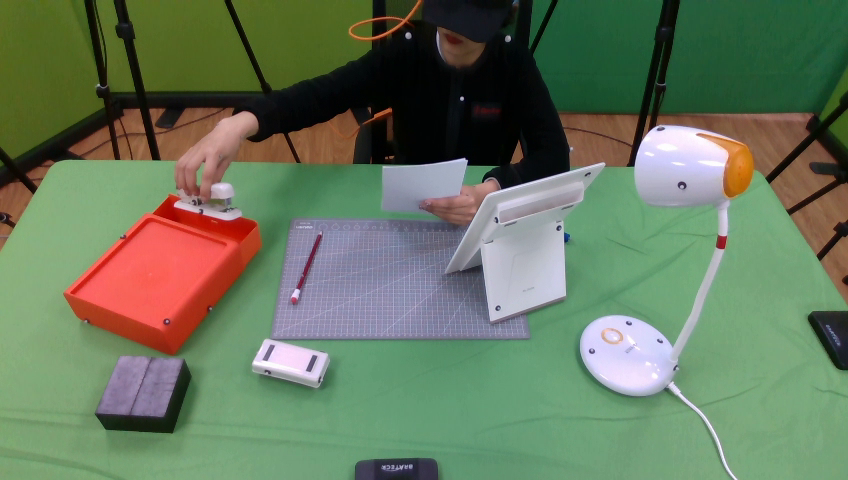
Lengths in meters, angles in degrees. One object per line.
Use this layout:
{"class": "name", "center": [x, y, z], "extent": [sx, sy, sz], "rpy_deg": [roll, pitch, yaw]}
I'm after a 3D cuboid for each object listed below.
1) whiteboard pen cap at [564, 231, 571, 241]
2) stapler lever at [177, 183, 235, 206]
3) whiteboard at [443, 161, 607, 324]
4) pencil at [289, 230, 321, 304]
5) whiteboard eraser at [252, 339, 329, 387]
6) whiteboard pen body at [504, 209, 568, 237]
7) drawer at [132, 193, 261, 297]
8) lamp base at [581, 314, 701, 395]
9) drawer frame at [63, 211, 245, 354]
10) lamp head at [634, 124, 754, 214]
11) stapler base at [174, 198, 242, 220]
{"class": "whiteboard pen cap", "center": [0.281, -0.011, 1.230], "extent": [0.033, 0.018, 0.018], "rpy_deg": [25, 50, 16]}
{"class": "stapler lever", "center": [-0.390, -0.088, 1.084], "extent": [0.118, 0.040, 0.027], "rpy_deg": [11, 22, 22]}
{"class": "whiteboard", "center": [0.185, 0.026, 1.028], "extent": [0.217, 0.306, 0.143], "rpy_deg": [-15, 68, -18]}
{"class": "pencil", "center": [-0.221, 0.045, 1.141], "extent": [0.012, 0.012, 0.193], "rpy_deg": [8, 44, 4]}
{"class": "whiteboard eraser", "center": [-0.215, 0.199, 0.976], "extent": [0.112, 0.042, 0.055], "rpy_deg": [12, 45, 7]}
{"class": "whiteboard pen body", "center": [0.230, -0.034, 1.248], "extent": [0.140, 0.017, 0.017], "rpy_deg": [23, 49, 16]}
{"class": "drawer", "center": [-0.437, 0.027, 1.098], "extent": [0.194, 0.073, 0.211], "rpy_deg": [18, 48, 11]}
{"class": "lamp base", "center": [0.361, 0.144, 0.973], "extent": [0.178, 0.181, 0.160], "rpy_deg": [34, 53, 23]}
{"class": "drawer frame", "center": [-0.459, 0.067, 1.056], "extent": [0.201, 0.083, 0.212], "rpy_deg": [17, 48, 11]}
{"class": "lamp head", "center": [0.351, -0.089, 0.776], "extent": [0.112, 0.113, 0.122], "rpy_deg": [-30, 30, -28]}
{"class": "stapler base", "center": [-0.390, -0.063, 1.094], "extent": [0.130, 0.024, 0.041], "rpy_deg": [12, 22, 22]}
